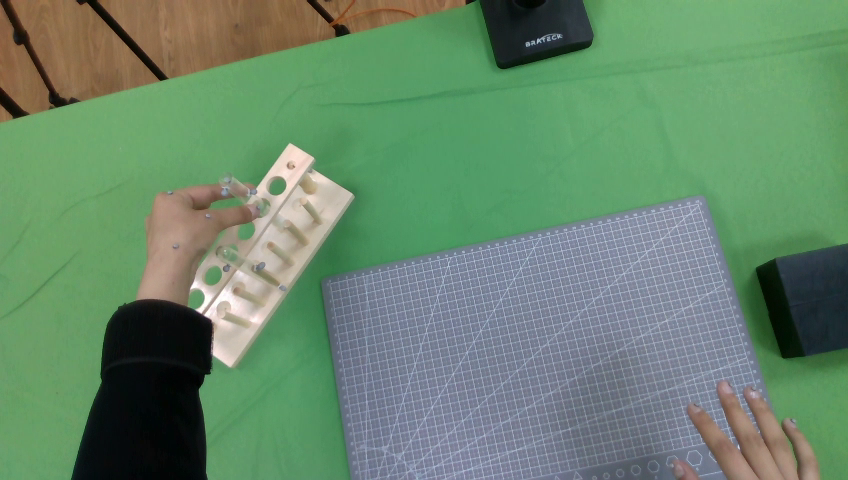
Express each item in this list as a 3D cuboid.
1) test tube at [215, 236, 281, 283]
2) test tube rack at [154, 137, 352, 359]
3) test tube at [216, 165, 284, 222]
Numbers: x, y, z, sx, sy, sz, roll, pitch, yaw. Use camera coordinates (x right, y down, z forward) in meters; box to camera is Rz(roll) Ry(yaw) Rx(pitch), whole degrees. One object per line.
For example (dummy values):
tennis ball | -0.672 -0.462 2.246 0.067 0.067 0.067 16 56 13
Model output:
test tube | -0.180 0.022 0.631 0.017 0.151 0.017 -2 74 6
test tube rack | -0.184 0.012 0.680 0.066 0.085 0.242 32 82 12
test tube | -0.179 -0.045 0.642 0.017 0.151 0.017 -2 75 8
